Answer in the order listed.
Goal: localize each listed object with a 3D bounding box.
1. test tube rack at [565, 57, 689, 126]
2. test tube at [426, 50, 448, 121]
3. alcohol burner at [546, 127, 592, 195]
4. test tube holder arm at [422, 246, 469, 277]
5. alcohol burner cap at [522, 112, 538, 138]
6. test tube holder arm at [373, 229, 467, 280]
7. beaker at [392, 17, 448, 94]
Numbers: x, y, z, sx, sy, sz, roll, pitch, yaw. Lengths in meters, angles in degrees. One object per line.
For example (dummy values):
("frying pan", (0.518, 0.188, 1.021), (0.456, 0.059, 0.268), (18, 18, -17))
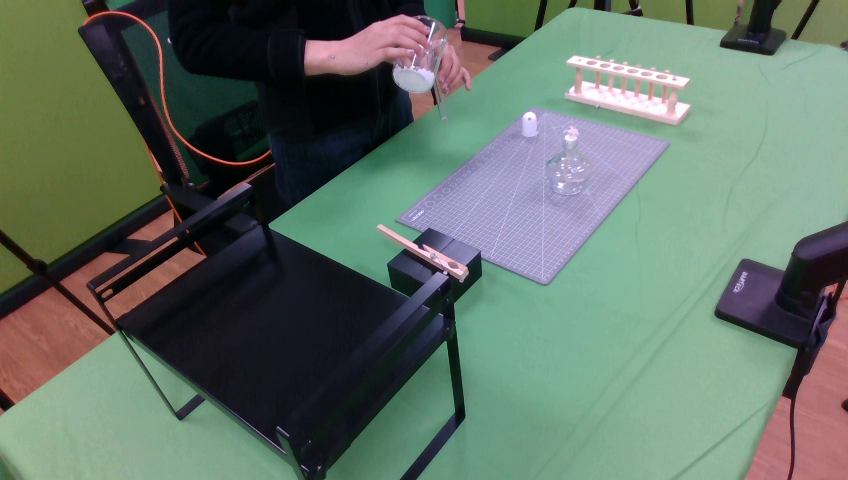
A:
("test tube rack", (0.412, -0.311, 1.230), (0.240, 0.085, 0.067), (23, 49, 32))
("test tube", (0.024, -0.275, 1.092), (0.017, 0.151, 0.017), (-7, 50, 9))
("alcohol burner", (0.246, -0.137, 1.023), (0.078, 0.119, 0.077), (-4, 38, 4))
("test tube holder arm", (0.028, 0.031, 0.864), (0.087, 0.015, 0.010), (25, 49, 34))
("alcohol burner cap", (0.210, -0.230, 1.195), (0.034, 0.048, 0.033), (-5, 40, 5))
("test tube holder arm", (-0.010, 0.019, 0.885), (0.177, 0.015, 0.013), (23, 48, 33))
("beaker", (-0.008, -0.296, 0.984), (0.074, 0.084, 0.100), (11, 71, 12))
